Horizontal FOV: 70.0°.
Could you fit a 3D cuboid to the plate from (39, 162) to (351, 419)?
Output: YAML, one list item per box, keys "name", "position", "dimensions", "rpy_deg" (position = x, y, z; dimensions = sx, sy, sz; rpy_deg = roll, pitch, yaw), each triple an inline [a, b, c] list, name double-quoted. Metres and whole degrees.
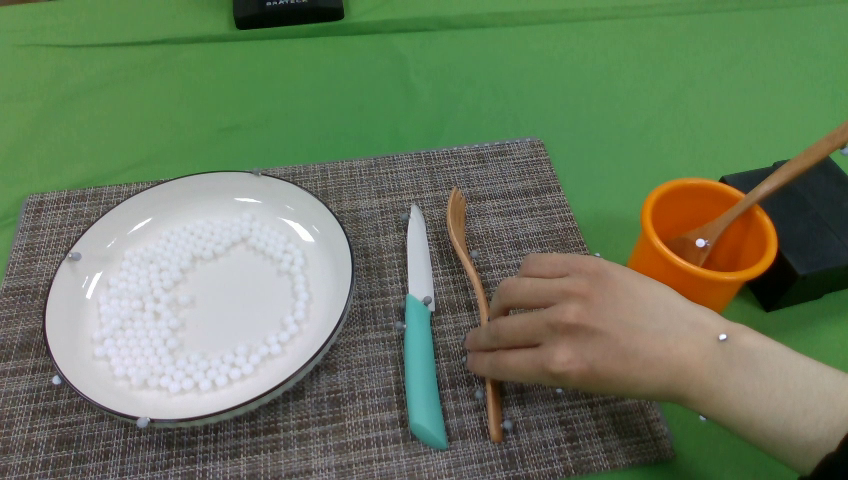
- name: "plate"
  position: [-0.155, 0.031, 0.434]
  dimensions: [0.209, 0.038, 0.207]
  rpy_deg: [1, 53, -1]

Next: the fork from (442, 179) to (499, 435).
- name: "fork"
  position: [0.034, 0.039, 0.445]
  dimensions: [0.018, 0.028, 0.205]
  rpy_deg: [-22, 54, 16]

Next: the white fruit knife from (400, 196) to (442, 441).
- name: "white fruit knife"
  position: [-0.007, 0.044, 0.445]
  dimensions: [0.027, 0.016, 0.205]
  rpy_deg: [19, 46, -26]

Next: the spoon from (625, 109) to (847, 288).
- name: "spoon"
  position: [0.226, -0.030, 0.430]
  dimensions: [0.022, 0.194, 0.041]
  rpy_deg: [21, 35, -45]
